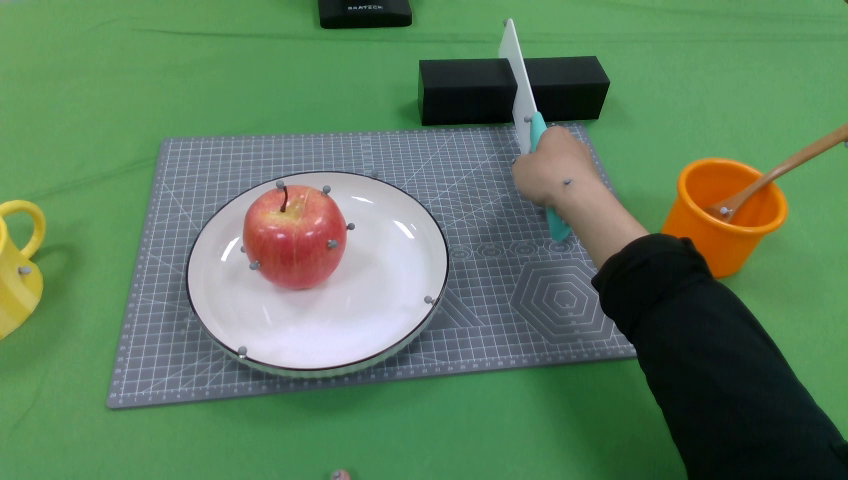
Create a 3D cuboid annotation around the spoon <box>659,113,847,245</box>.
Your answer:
[{"bbox_3d":[0.295,-0.055,0.528,0.022,0.194,0.041,30,32,-39],"label":"spoon"}]

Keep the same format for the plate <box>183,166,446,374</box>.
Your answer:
[{"bbox_3d":[-0.086,0.021,0.500,0.209,0.038,0.207,3,50,-3],"label":"plate"}]

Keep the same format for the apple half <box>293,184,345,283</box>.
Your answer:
[{"bbox_3d":[-0.079,-0.003,0.486,0.033,0.082,0.080,2,49,4],"label":"apple half"}]

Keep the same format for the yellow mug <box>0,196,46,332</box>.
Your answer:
[{"bbox_3d":[-0.352,0.015,0.469,0.099,0.064,0.130,23,51,14],"label":"yellow mug"}]

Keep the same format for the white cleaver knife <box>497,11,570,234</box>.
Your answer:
[{"bbox_3d":[0.106,-0.125,0.619,0.021,0.066,0.283,-5,57,-2],"label":"white cleaver knife"}]

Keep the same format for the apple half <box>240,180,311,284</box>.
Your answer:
[{"bbox_3d":[-0.118,-0.006,0.487,0.053,0.075,0.080,3,52,4],"label":"apple half"}]
